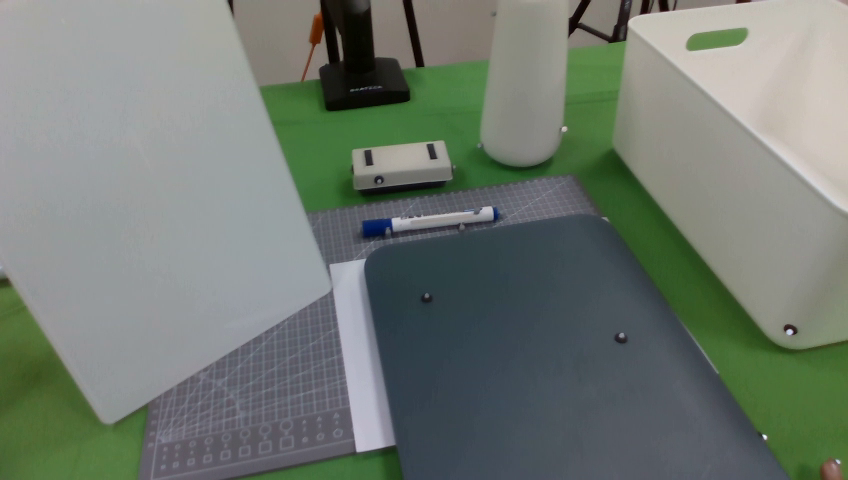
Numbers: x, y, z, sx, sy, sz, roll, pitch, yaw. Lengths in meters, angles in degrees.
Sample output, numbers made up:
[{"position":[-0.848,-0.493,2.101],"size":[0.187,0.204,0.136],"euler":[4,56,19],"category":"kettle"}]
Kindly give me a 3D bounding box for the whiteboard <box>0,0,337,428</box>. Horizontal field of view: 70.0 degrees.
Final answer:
[{"position":[-0.241,-0.048,0.507],"size":[0.217,0.308,0.142],"euler":[-31,30,-28],"category":"whiteboard"}]

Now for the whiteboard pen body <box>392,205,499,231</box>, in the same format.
[{"position":[0.010,-0.022,0.640],"size":[0.141,0.017,0.017],"euler":[-7,42,-5],"category":"whiteboard pen body"}]

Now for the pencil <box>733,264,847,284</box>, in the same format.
[{"position":[0.389,0.037,0.562],"size":[0.194,0.012,0.012],"euler":[6,42,6],"category":"pencil"}]

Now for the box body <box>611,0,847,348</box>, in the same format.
[{"position":[0.374,-0.087,0.595],"size":[0.254,0.162,0.360],"euler":[-10,42,-8],"category":"box body"}]

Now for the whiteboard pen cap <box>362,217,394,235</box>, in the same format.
[{"position":[-0.048,-0.015,0.634],"size":[0.033,0.018,0.018],"euler":[-5,42,-7],"category":"whiteboard pen cap"}]

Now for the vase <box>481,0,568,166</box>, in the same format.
[{"position":[0.117,-0.184,0.685],"size":[0.098,0.202,0.097],"euler":[0,42,1],"category":"vase"}]

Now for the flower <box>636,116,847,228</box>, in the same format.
[{"position":[0.389,-0.048,0.648],"size":[0.044,0.038,0.358],"euler":[-28,50,-34],"category":"flower"}]

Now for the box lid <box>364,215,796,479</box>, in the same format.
[{"position":[0.100,0.107,0.492],"size":[0.264,0.015,0.367],"euler":[-8,40,-9],"category":"box lid"}]

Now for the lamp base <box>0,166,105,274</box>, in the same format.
[{"position":[-0.441,-0.082,0.602],"size":[0.178,0.182,0.160],"euler":[18,45,24],"category":"lamp base"}]

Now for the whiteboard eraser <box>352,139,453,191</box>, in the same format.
[{"position":[-0.026,-0.085,0.697],"size":[0.113,0.042,0.055],"euler":[-8,40,-6],"category":"whiteboard eraser"}]
